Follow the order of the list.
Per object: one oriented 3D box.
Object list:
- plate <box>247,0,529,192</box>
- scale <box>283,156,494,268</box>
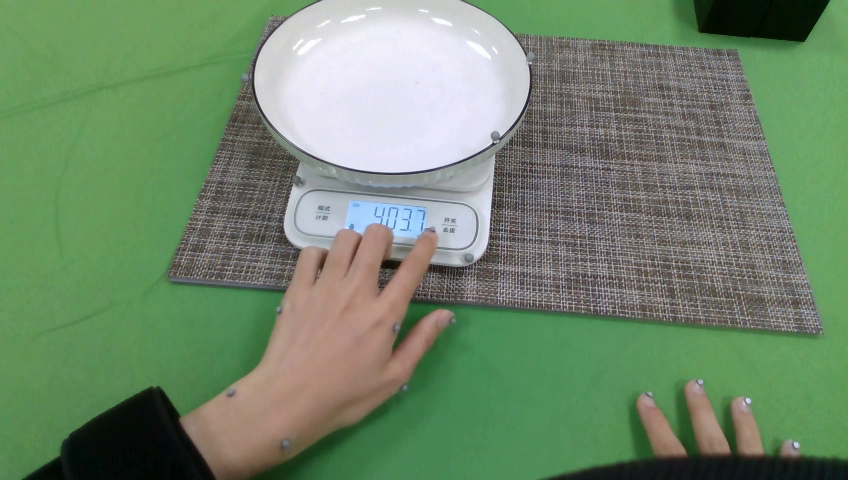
[{"bbox_3d":[-0.026,-0.114,0.464,0.208,0.039,0.205,1,55,-2],"label":"plate"},{"bbox_3d":[-0.019,-0.072,0.475,0.148,0.032,0.199,6,55,3],"label":"scale"}]
